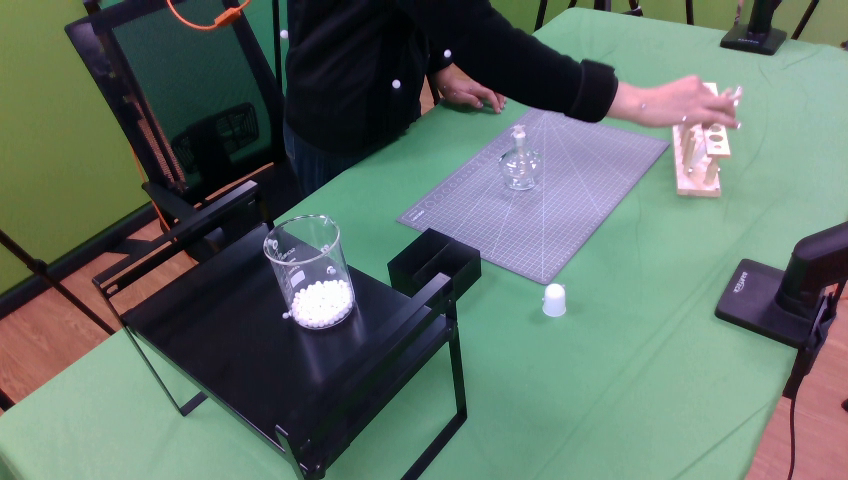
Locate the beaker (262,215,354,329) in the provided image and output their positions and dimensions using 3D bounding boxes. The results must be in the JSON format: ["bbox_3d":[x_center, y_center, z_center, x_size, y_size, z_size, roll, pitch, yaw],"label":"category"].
[{"bbox_3d":[-0.112,0.034,0.616,0.073,0.101,0.084,13,44,23],"label":"beaker"}]

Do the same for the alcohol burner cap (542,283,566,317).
[{"bbox_3d":[0.181,0.081,0.839,0.034,0.048,0.033,-4,41,4],"label":"alcohol burner cap"}]

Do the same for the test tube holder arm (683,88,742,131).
[{"bbox_3d":[0.433,-0.197,0.902,0.013,0.015,0.179,23,41,39],"label":"test tube holder arm"}]

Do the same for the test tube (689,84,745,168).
[{"bbox_3d":[0.484,-0.187,1.005,0.017,0.150,0.017,20,24,-9],"label":"test tube"}]

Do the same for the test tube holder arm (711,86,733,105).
[{"bbox_3d":[0.459,-0.218,0.933,0.010,0.015,0.088,18,38,33],"label":"test tube holder arm"}]

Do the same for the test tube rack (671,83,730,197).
[{"bbox_3d":[0.482,-0.184,1.067,0.066,0.085,0.242,6,42,15],"label":"test tube rack"}]

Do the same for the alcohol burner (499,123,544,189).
[{"bbox_3d":[0.169,-0.149,1.048,0.078,0.119,0.077,-6,41,5],"label":"alcohol burner"}]
